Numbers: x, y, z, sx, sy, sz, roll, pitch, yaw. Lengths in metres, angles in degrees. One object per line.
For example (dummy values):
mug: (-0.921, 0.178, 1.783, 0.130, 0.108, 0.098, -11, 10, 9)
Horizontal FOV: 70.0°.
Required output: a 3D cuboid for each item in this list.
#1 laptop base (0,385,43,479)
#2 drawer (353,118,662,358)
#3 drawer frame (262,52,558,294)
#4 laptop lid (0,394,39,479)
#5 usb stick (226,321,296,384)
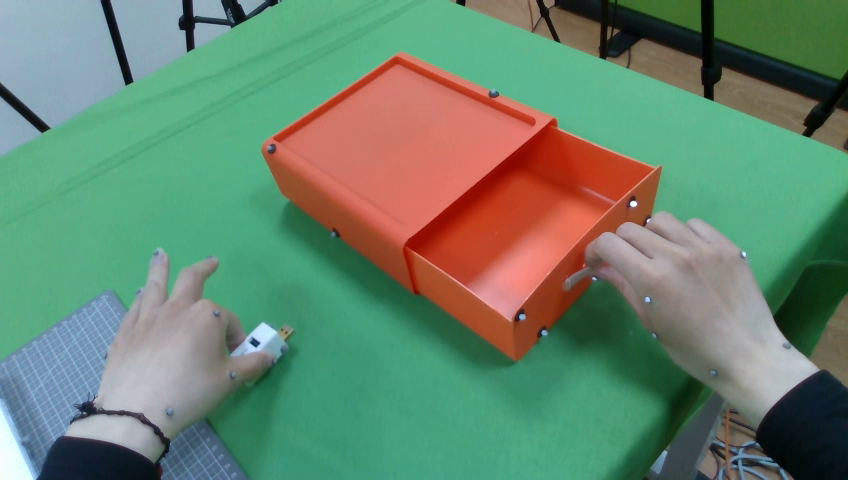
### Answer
laptop base: (-0.436, 0.274, 0.416, 0.354, 0.023, 0.233, -39, 57, -21)
drawer: (0.064, -0.029, 0.539, 0.209, 0.074, 0.194, 33, 63, 33)
drawer frame: (-0.013, -0.078, 0.596, 0.211, 0.083, 0.201, 32, 63, 34)
laptop lid: (-0.436, 0.267, 0.405, 0.356, 0.013, 0.239, -37, 55, -20)
usb stick: (-0.132, 0.088, 0.502, 0.021, 0.027, 0.059, 24, 56, 35)
